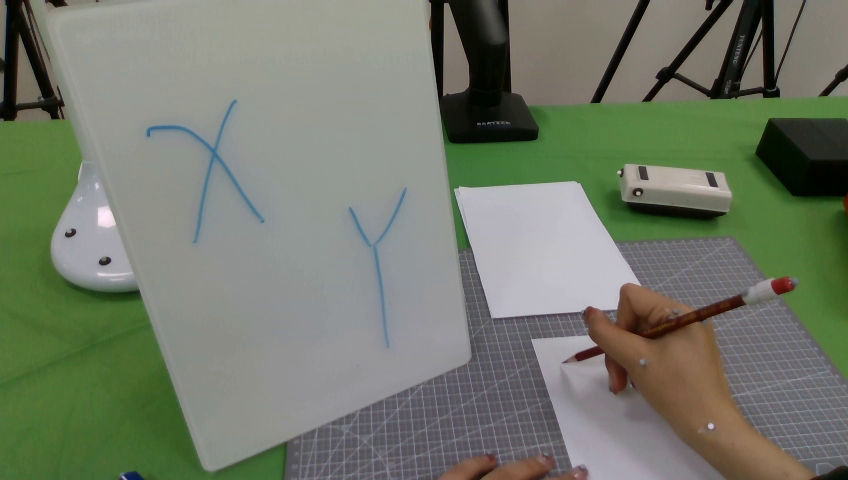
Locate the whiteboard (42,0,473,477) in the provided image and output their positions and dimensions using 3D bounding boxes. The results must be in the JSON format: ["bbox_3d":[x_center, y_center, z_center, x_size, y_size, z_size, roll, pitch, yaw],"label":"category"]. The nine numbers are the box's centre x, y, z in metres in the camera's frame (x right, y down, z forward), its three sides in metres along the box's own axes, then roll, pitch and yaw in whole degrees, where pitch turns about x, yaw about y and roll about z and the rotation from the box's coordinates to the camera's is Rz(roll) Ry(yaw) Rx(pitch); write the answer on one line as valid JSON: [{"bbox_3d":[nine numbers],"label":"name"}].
[{"bbox_3d":[-0.106,-0.026,0.458,0.218,0.307,0.142,-18,24,-21],"label":"whiteboard"}]

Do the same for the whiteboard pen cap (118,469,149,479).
[{"bbox_3d":[-0.187,0.166,0.400,0.033,0.018,0.018,23,44,27],"label":"whiteboard pen cap"}]

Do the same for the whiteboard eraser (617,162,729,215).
[{"bbox_3d":[0.276,-0.057,0.678,0.112,0.042,0.055,7,41,6],"label":"whiteboard eraser"}]

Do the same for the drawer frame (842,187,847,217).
[{"bbox_3d":[0.534,0.011,0.570,0.201,0.083,0.212,11,39,13],"label":"drawer frame"}]

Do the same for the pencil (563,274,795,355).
[{"bbox_3d":[0.163,0.059,0.424,0.012,0.194,0.012,14,62,-27],"label":"pencil"}]

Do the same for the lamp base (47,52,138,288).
[{"bbox_3d":[-0.292,-0.073,0.561,0.178,0.182,0.160,23,44,28],"label":"lamp base"}]
